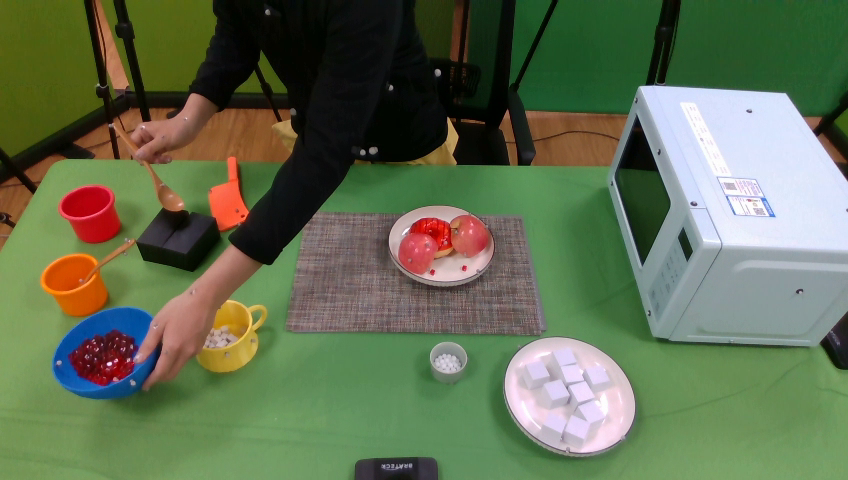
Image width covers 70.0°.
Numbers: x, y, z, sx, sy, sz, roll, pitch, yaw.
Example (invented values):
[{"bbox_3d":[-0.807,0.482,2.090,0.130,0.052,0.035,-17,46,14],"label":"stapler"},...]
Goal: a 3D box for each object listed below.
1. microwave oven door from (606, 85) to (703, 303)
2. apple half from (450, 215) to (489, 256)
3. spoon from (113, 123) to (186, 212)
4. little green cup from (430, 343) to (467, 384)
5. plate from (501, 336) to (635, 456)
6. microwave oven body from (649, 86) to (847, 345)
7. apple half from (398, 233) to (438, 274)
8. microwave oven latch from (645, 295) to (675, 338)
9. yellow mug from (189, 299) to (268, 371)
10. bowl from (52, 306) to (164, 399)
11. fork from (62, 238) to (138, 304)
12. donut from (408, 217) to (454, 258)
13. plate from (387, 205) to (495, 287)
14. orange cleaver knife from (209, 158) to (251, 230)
[{"bbox_3d":[0.423,-0.094,1.140,0.039,0.245,0.353,2,46,-1],"label":"microwave oven door"},{"bbox_3d":[0.092,-0.013,1.158,0.075,0.053,0.080,34,39,-28],"label":"apple half"},{"bbox_3d":[-0.505,-0.133,1.113,0.021,0.194,0.041,-21,15,39],"label":"spoon"},{"bbox_3d":[0.039,0.203,0.993,0.061,0.039,0.061,2,46,-2],"label":"little green cup"},{"bbox_3d":[0.225,0.248,0.964,0.208,0.039,0.206,2,46,-2],"label":"plate"},{"bbox_3d":[0.568,-0.053,1.118,0.326,0.261,0.439,2,45,-1],"label":"microwave oven body"},{"bbox_3d":[-0.016,0.022,1.123,0.081,0.033,0.081,-2,83,14],"label":"apple half"},{"bbox_3d":[0.412,0.134,1.061,0.030,0.029,0.078,3,45,0],"label":"microwave oven latch"},{"bbox_3d":[-0.316,0.148,1.002,0.131,0.064,0.099,-33,56,-31],"label":"yellow mug"},{"bbox_3d":[-0.455,0.180,0.901,0.151,0.077,0.150,-2,44,2],"label":"bowl"},{"bbox_3d":[-0.547,0.053,1.018,0.207,0.019,0.028,-36,41,23],"label":"fork"},{"bbox_3d":[0.018,-0.006,1.174,0.099,0.048,0.098,4,42,-3],"label":"donut"},{"bbox_3d":[0.033,0.014,1.171,0.209,0.038,0.208,2,46,-2],"label":"plate"},{"bbox_3d":[-0.409,-0.099,1.266,0.077,0.012,0.210,-13,49,-11],"label":"orange cleaver knife"}]
